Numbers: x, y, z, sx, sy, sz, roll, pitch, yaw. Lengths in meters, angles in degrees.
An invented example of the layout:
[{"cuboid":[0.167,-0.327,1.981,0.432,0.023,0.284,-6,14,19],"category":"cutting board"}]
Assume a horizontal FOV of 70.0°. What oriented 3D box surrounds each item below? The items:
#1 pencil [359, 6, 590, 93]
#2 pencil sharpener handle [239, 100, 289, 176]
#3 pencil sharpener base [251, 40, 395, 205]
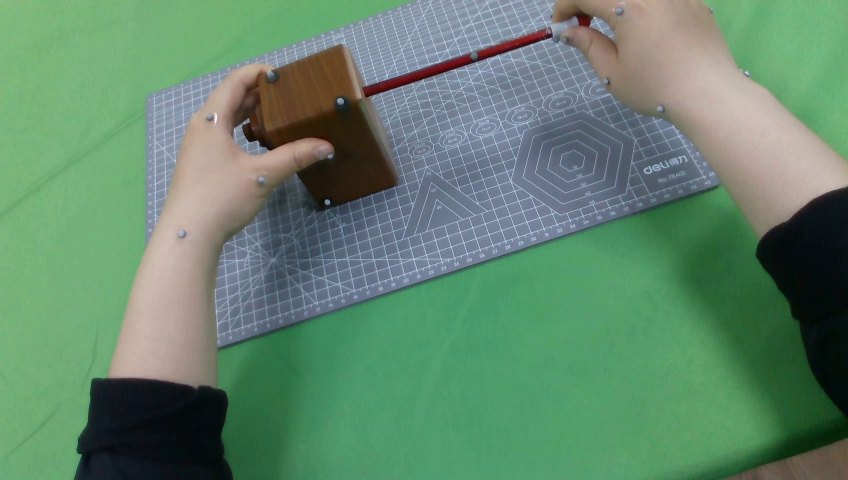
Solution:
[{"cuboid":[0.023,-0.133,0.437,0.194,0.012,0.012,-16,60,8],"category":"pencil"},{"cuboid":[-0.126,-0.073,0.458,0.030,0.068,0.035,-20,59,4],"category":"pencil sharpener handle"},{"cuboid":[-0.075,-0.085,0.465,0.076,0.108,0.061,-20,59,4],"category":"pencil sharpener base"}]
